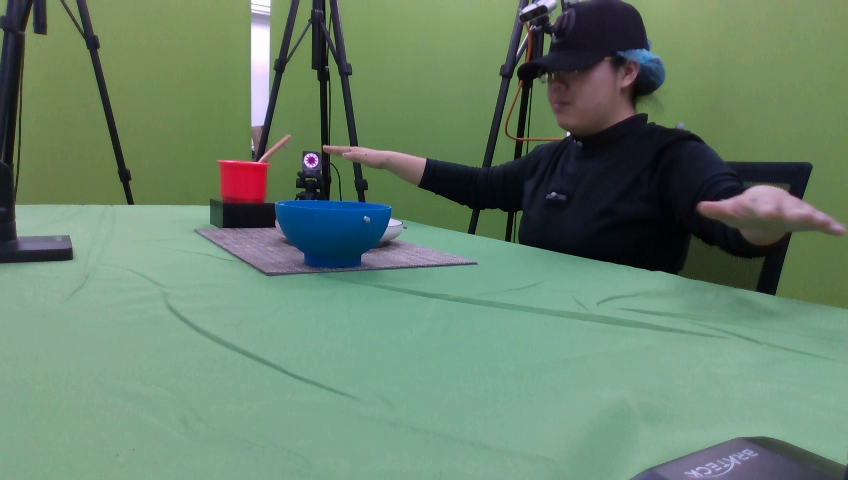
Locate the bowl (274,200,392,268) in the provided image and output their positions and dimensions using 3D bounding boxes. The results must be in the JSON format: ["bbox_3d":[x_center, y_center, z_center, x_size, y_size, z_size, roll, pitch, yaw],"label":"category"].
[{"bbox_3d":[-0.117,-0.008,0.781,0.151,0.077,0.151,3,7,0],"label":"bowl"}]

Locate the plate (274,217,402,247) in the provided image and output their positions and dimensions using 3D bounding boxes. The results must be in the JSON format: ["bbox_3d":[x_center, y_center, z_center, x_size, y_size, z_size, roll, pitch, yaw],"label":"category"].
[{"bbox_3d":[-0.140,-0.015,0.993,0.208,0.039,0.207,3,8,0],"label":"plate"}]

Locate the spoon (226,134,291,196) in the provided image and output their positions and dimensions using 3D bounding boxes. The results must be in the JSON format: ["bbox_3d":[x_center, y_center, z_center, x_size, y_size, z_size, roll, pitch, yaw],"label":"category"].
[{"bbox_3d":[-0.320,-0.149,1.187,0.041,0.022,0.194,8,53,36],"label":"spoon"}]
